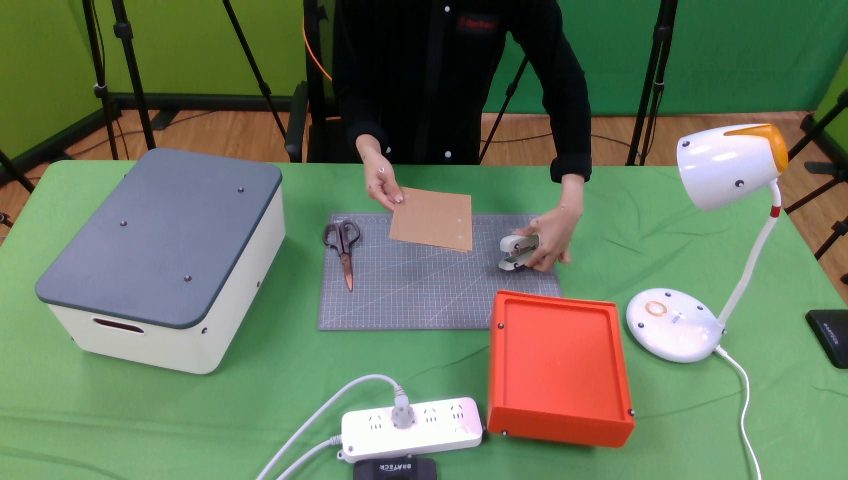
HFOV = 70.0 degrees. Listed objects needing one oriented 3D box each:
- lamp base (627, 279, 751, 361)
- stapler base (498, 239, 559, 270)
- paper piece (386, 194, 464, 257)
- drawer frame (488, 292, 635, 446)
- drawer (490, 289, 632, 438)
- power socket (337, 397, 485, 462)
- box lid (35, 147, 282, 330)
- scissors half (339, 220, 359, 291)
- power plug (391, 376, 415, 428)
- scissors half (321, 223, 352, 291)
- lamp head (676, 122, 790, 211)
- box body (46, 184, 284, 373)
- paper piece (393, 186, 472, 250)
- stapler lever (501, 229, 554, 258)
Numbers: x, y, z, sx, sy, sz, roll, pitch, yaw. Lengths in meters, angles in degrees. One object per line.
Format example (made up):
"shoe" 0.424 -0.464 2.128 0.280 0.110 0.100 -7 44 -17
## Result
"lamp base" 0.460 0.100 1.027 0.178 0.181 0.160 27 51 17
"stapler base" 0.201 0.020 1.177 0.131 0.024 0.041 -22 29 -26
"paper piece" 0.008 -0.031 1.057 0.135 0.004 0.135 13 44 -1
"drawer frame" 0.204 0.191 0.931 0.202 0.083 0.212 7 45 2
"drawer" 0.203 0.185 0.934 0.194 0.073 0.210 7 47 1
"power socket" -0.018 0.285 0.915 0.227 0.033 0.071 -4 46 -8
"box lid" -0.411 -0.023 0.987 0.263 0.015 0.369 10 47 5
"scissors half" -0.144 0.026 1.162 0.040 0.013 0.174 -8 51 2
"power plug" -0.031 0.249 0.917 0.035 0.053 0.072 3 46 -1
"scissors half" -0.163 0.031 1.160 0.040 0.013 0.174 -18 51 -12
"lamp head" 0.423 -0.104 0.819 0.122 0.113 0.112 -13 33 40
"box body" -0.414 0.029 1.039 0.254 0.161 0.362 10 46 5
"paper piece" 0.017 -0.041 1.055 0.136 0.009 0.137 10 46 -8
"stapler lever" 0.198 -0.002 1.168 0.118 0.040 0.026 -23 30 -25
